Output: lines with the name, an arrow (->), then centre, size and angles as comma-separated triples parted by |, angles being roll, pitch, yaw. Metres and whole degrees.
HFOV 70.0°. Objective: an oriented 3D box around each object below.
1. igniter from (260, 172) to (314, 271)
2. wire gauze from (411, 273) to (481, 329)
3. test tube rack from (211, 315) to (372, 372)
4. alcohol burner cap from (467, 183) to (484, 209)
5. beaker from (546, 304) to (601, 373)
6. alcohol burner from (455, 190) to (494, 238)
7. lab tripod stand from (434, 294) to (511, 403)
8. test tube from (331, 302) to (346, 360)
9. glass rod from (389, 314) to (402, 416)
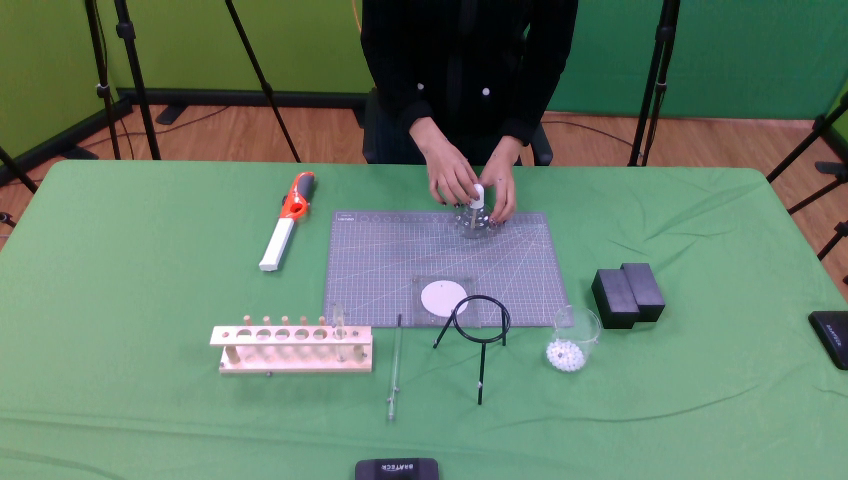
igniter -> -0.272, -0.046, 1.220 | 0.057, 0.025, 0.275 | 0, 45, 10
wire gauze -> 0.038, 0.108, 1.103 | 0.125, 0.011, 0.120 | 2, 47, -3
test tube rack -> -0.208, 0.163, 0.982 | 0.242, 0.085, 0.066 | 1, 46, -4
alcohol burner cap -> 0.101, -0.088, 1.170 | 0.034, 0.048, 0.033 | 1, 39, 0
beaker -> 0.242, 0.167, 1.001 | 0.084, 0.101, 0.073 | -32, 55, -28
alcohol burner -> 0.101, -0.061, 1.196 | 0.078, 0.120, 0.077 | 1, 48, -1
lab tripod stand -> 0.087, 0.164, 0.969 | 0.148, 0.132, 0.147 | 3, 47, -3
test tube -> -0.132, 0.144, 0.938 | 0.017, 0.151, 0.017 | 2, 49, -3
glass rod -> -0.047, 0.203, 1.007 | 0.008, 0.008, 0.198 | 4, 45, 0
